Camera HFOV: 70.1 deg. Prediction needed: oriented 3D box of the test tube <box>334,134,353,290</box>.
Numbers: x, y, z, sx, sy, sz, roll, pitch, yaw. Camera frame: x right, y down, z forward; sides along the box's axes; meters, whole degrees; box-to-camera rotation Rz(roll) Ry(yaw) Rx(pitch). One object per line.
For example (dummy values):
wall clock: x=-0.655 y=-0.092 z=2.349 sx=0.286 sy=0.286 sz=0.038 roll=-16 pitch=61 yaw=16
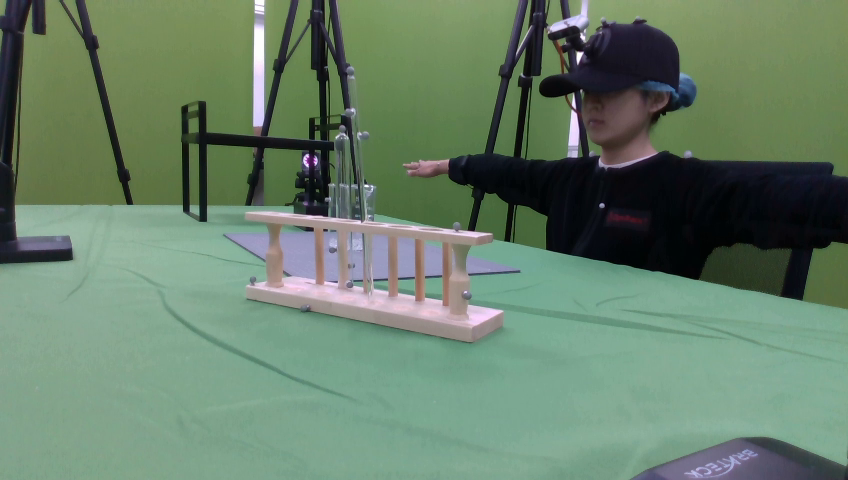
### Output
test tube: x=-0.077 y=-0.026 z=0.579 sx=0.017 sy=0.150 sz=0.017 roll=0 pitch=7 yaw=0

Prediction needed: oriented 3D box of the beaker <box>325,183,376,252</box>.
beaker: x=-0.110 y=-0.034 z=0.920 sx=0.083 sy=0.100 sz=0.074 roll=11 pitch=11 yaw=43

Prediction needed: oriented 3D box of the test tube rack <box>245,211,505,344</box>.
test tube rack: x=-0.049 y=0.025 z=0.547 sx=0.241 sy=0.085 sz=0.067 roll=7 pitch=8 yaw=29

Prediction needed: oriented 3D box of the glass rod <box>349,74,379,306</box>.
glass rod: x=-0.050 y=-0.037 z=0.511 sx=0.008 sy=0.199 sz=0.008 roll=-4 pitch=10 yaw=1
